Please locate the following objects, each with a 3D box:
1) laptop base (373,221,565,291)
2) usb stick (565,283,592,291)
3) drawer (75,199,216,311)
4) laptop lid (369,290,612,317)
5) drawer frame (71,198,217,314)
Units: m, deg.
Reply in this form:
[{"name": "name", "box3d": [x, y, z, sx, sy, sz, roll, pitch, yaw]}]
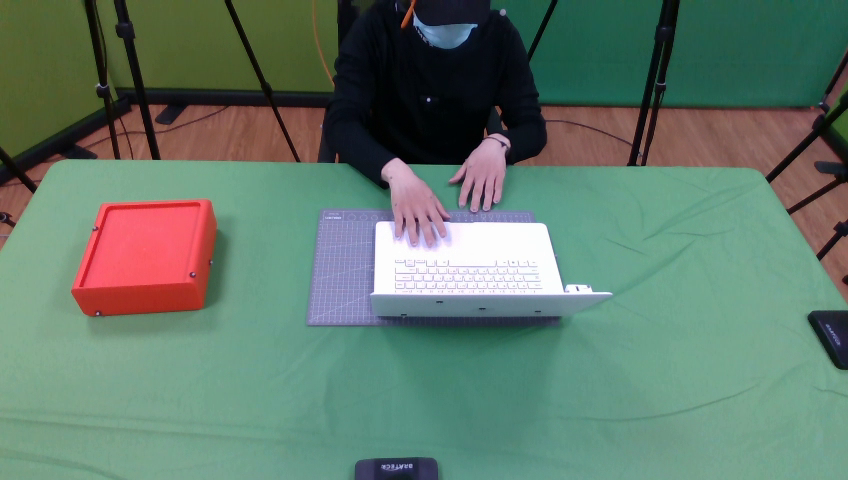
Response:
[{"name": "laptop base", "box3d": [0.080, 0.049, 1.158, 0.355, 0.023, 0.234, 0, 43, -4]}, {"name": "usb stick", "box3d": [0.276, 0.095, 1.113, 0.059, 0.027, 0.021, -1, 47, -6]}, {"name": "drawer", "box3d": [-0.494, 0.023, 1.098, 0.195, 0.073, 0.210, -2, 47, -8]}, {"name": "laptop lid", "box3d": [0.091, 0.104, 0.965, 0.357, 0.242, 0.013, 1, 75, -5]}, {"name": "drawer frame", "box3d": [-0.493, 0.023, 1.096, 0.202, 0.083, 0.212, -3, 47, -8]}]
